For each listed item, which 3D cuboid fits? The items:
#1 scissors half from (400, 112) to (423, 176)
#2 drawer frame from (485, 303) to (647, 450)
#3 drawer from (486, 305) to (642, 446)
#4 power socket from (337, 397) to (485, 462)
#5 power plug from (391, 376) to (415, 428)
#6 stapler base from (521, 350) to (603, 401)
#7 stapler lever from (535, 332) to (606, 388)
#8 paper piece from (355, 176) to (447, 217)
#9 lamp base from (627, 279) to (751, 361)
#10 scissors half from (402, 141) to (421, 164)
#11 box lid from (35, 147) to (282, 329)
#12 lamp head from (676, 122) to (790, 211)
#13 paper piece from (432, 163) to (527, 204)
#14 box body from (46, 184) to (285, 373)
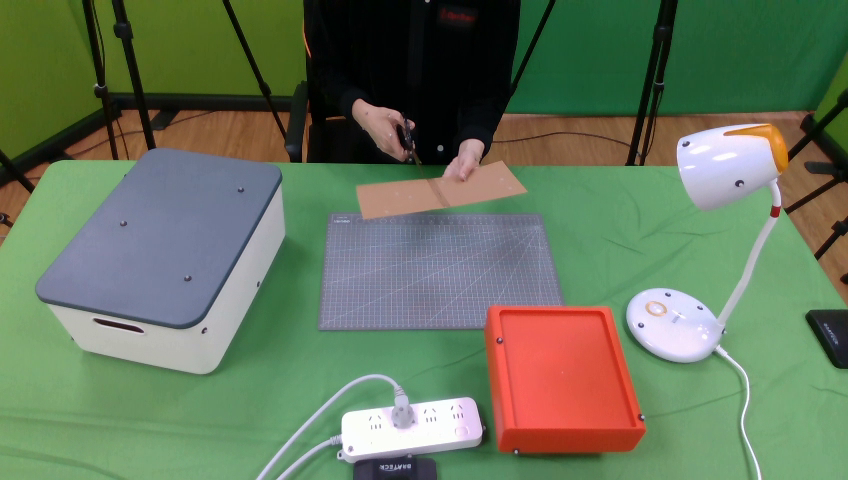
[{"bbox_3d":[-0.024,-0.180,1.131,0.013,0.040,0.174,-13,55,-5],"label":"scissors half"},{"bbox_3d":[0.204,0.202,0.917,0.202,0.083,0.212,1,47,-4],"label":"drawer frame"},{"bbox_3d":[0.202,0.200,0.918,0.195,0.073,0.210,2,47,-4],"label":"drawer"},{"bbox_3d":[-0.018,0.285,0.915,0.227,0.033,0.071,-4,46,-8],"label":"power socket"},{"bbox_3d":[-0.030,0.249,0.917,0.035,0.053,0.072,3,46,0],"label":"power plug"},{"bbox_3d":[0.217,0.203,0.942,0.130,0.024,0.041,26,34,16],"label":"stapler base"},{"bbox_3d":[0.225,0.181,0.928,0.118,0.040,0.027,27,34,15],"label":"stapler lever"},{"bbox_3d":[-0.041,-0.075,1.001,0.135,0.004,0.135,-6,28,-8],"label":"paper piece"},{"bbox_3d":[0.460,0.100,1.027,0.178,0.181,0.160,27,51,17],"label":"lamp base"},{"bbox_3d":[-0.022,-0.160,1.144,0.013,0.040,0.174,-10,16,-8],"label":"scissors half"},{"bbox_3d":[-0.411,-0.023,0.987,0.263,0.015,0.369,10,47,5],"label":"box lid"},{"bbox_3d":[0.423,-0.104,0.819,0.122,0.113,0.112,-13,33,40],"label":"lamp head"},{"bbox_3d":[0.088,-0.096,1.020,0.136,0.009,0.137,-9,27,-7],"label":"paper piece"},{"bbox_3d":[-0.414,0.029,1.040,0.254,0.161,0.362,10,46,5],"label":"box body"}]
